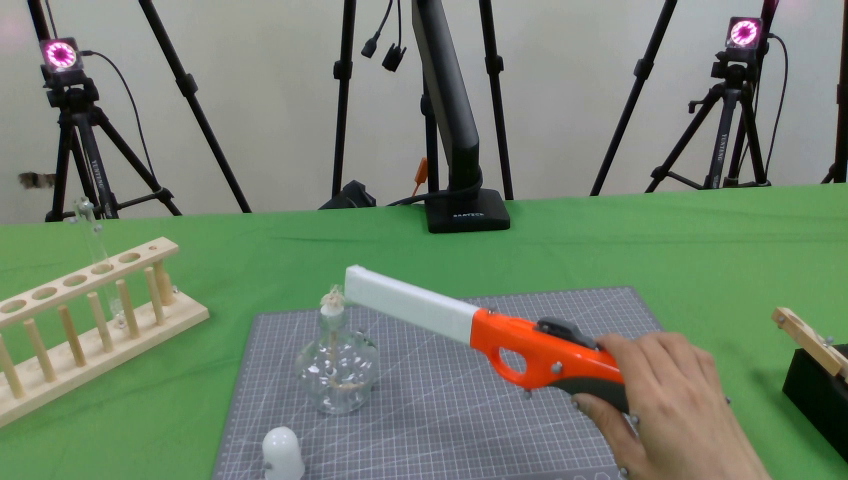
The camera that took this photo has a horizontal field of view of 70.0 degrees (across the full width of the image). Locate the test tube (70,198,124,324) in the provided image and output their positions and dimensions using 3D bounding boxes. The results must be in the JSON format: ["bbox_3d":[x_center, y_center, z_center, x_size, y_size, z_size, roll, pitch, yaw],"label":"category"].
[{"bbox_3d":[-0.334,0.026,0.625,0.017,0.151,0.017,0,31,0],"label":"test tube"}]

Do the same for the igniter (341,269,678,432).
[{"bbox_3d":[0.046,0.071,0.443,0.274,0.057,0.025,16,20,32],"label":"igniter"}]

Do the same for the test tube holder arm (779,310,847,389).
[{"bbox_3d":[0.357,0.115,0.514,0.013,0.015,0.176,3,28,-12],"label":"test tube holder arm"}]

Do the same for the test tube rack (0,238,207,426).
[{"bbox_3d":[-0.352,0.089,0.613,0.066,0.086,0.242,22,36,35],"label":"test tube rack"}]

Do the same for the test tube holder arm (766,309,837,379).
[{"bbox_3d":[0.344,0.093,0.551,0.010,0.015,0.087,3,28,-12],"label":"test tube holder arm"}]

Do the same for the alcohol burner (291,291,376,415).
[{"bbox_3d":[-0.083,0.099,0.551,0.078,0.120,0.077,0,27,1],"label":"alcohol burner"}]

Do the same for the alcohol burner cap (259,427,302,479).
[{"bbox_3d":[-0.118,0.174,0.491,0.034,0.048,0.033,-1,29,1],"label":"alcohol burner cap"}]
